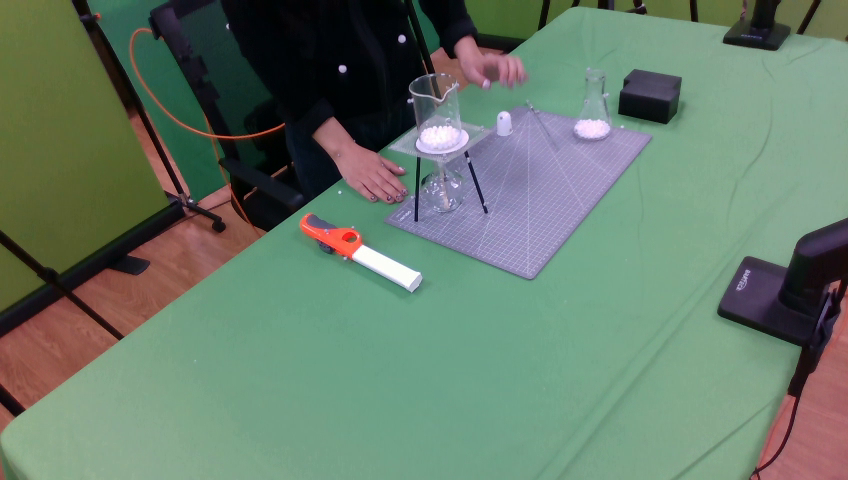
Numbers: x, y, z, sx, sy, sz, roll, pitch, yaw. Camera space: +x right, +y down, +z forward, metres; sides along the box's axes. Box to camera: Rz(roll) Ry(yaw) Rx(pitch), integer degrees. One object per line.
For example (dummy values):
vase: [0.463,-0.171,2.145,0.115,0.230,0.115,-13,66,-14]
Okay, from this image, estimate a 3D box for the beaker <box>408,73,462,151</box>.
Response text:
beaker: [0.021,-0.196,0.943,0.074,0.101,0.083,-17,39,-7]

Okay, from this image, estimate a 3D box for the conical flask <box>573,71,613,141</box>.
conical flask: [0.321,-0.256,1.142,0.075,0.122,0.075,-5,40,5]

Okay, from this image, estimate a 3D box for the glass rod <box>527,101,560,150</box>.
glass rod: [0.240,-0.236,1.223,0.008,0.008,0.198,-12,40,-2]

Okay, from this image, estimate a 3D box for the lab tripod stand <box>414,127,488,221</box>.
lab tripod stand: [0.035,-0.114,1.021,0.148,0.132,0.147,-7,39,6]

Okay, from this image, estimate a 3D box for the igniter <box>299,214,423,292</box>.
igniter: [-0.112,0.016,0.983,0.274,0.025,0.057,25,62,35]

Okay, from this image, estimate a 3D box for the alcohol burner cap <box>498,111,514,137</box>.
alcohol burner cap: [0.163,-0.234,1.211,0.034,0.048,0.033,-6,40,6]

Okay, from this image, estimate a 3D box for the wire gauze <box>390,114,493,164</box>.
wire gauze: [0.027,-0.163,0.978,0.120,0.011,0.125,22,50,36]

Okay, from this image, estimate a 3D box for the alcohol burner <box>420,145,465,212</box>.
alcohol burner: [0.030,-0.108,1.030,0.078,0.119,0.077,-5,38,4]
